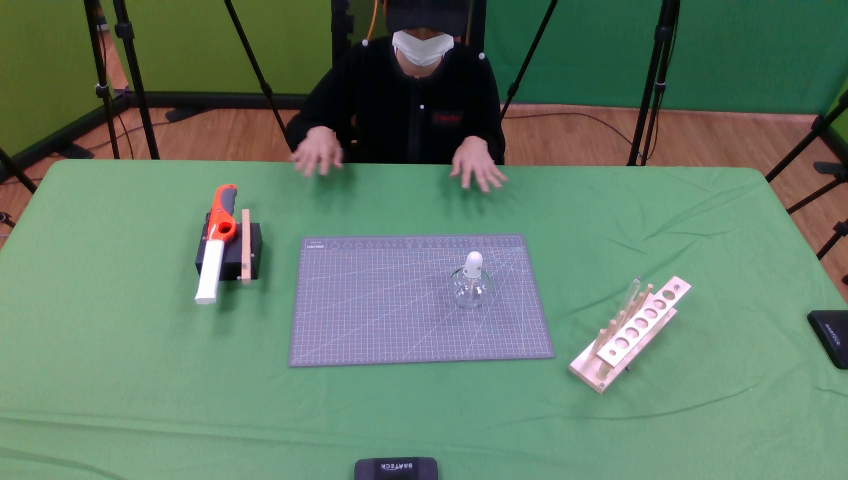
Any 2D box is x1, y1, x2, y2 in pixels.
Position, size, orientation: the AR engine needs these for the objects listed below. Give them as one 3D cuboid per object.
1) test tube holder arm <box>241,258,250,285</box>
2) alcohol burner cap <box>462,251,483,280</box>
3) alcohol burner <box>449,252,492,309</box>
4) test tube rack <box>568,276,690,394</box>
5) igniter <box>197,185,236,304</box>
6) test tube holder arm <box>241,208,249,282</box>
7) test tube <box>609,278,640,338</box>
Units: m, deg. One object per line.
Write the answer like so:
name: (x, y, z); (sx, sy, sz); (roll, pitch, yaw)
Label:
test tube holder arm: (-0.316, 0.042, 1.071); (0.015, 0.010, 0.087); (-1, 48, -15)
alcohol burner cap: (0.085, 0.042, 1.048); (0.034, 0.048, 0.033); (4, 41, -3)
alcohol burner: (0.084, 0.066, 1.074); (0.078, 0.120, 0.077); (1, 44, -1)
test tube rack: (0.353, 0.149, 1.039); (0.242, 0.085, 0.066); (-34, 56, -31)
igniter: (-0.376, -0.002, 1.101); (0.057, 0.025, 0.274); (-1, 49, -7)
test tube holder arm: (-0.324, 0.005, 1.096); (0.015, 0.013, 0.177); (-1, 48, -15)
test tube: (0.331, 0.115, 1.007); (0.017, 0.151, 0.017); (2, 45, -2)
